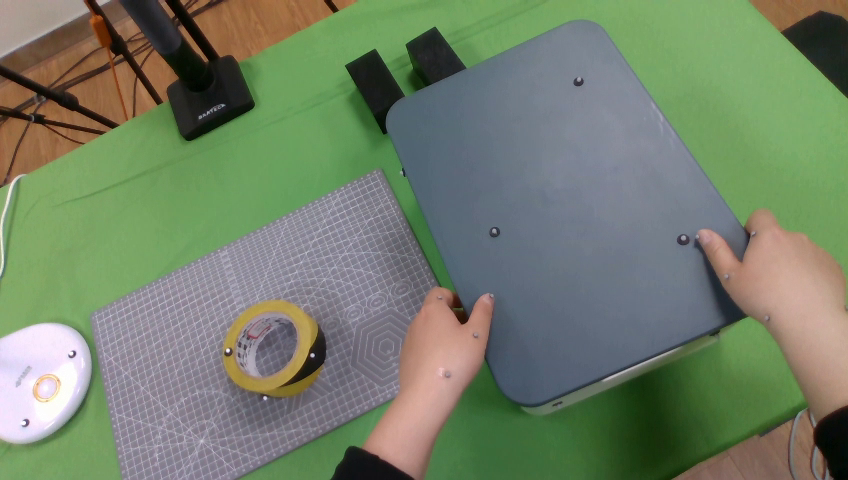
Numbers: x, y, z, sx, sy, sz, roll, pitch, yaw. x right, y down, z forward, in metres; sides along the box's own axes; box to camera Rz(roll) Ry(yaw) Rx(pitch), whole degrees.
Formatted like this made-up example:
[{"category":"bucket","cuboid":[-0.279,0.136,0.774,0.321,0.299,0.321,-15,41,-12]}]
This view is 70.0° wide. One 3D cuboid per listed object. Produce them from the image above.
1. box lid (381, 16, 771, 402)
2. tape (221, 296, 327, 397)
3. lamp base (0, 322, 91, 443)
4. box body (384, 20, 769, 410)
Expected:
[{"category":"box lid","cuboid":[0.127,-0.054,0.604,0.263,0.015,0.368,-25,65,2]},{"category":"tape","cuboid":[-0.182,0.129,0.737,0.116,0.053,0.116,-4,66,10]},{"category":"lamp base","cuboid":[-0.545,0.155,0.739,0.178,0.182,0.159,9,69,19]},{"category":"box body","cuboid":[0.143,-0.023,0.669,0.254,0.162,0.360,-25,64,2]}]
